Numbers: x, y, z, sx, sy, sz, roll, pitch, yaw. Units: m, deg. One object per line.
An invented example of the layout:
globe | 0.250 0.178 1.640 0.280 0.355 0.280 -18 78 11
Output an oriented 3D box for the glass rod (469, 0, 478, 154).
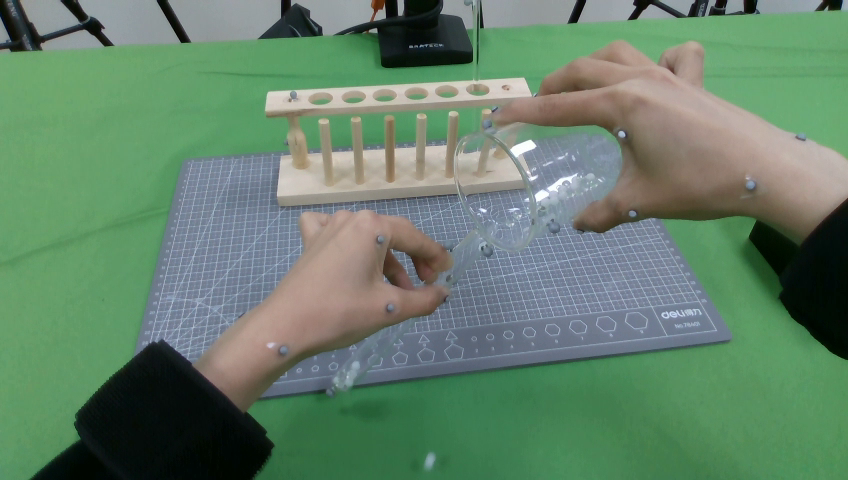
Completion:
glass rod | 0.046 -0.168 0.559 0.008 0.201 0.008 -1 37 1

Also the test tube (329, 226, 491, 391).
test tube | -0.012 0.048 0.398 0.150 0.017 0.017 -46 48 14

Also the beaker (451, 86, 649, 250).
beaker | 0.078 -0.045 0.369 0.100 0.084 0.073 -25 62 -24

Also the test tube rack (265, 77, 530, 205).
test tube rack | -0.022 -0.095 0.577 0.243 0.086 0.066 -4 44 -5
